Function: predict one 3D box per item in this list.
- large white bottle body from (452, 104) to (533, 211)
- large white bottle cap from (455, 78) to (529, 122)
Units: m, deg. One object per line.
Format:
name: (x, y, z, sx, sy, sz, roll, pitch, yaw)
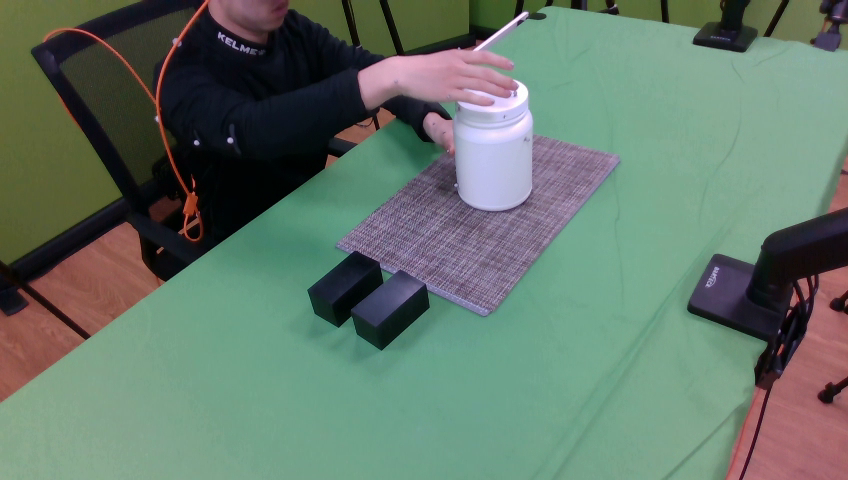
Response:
large white bottle body: (0.115, -0.155, 1.001, 0.130, 0.185, 0.130, -4, 41, 4)
large white bottle cap: (0.105, -0.221, 0.943, 0.115, 0.018, 0.114, -4, 41, 4)
